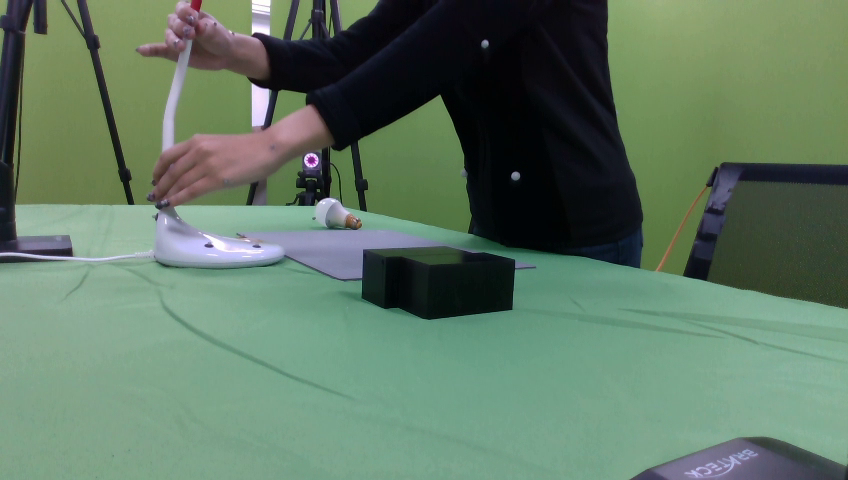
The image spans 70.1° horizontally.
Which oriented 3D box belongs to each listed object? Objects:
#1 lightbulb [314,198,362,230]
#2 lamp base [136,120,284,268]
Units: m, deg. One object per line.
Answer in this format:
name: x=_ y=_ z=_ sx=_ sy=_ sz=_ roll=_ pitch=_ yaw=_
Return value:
lightbulb: x=-0.172 y=-0.048 z=1.219 sx=0.107 sy=0.059 sz=0.060 roll=22 pitch=15 yaw=22
lamp base: x=-0.272 y=-0.061 z=0.770 sx=0.180 sy=0.180 sz=0.160 roll=-7 pitch=11 yaw=-38
